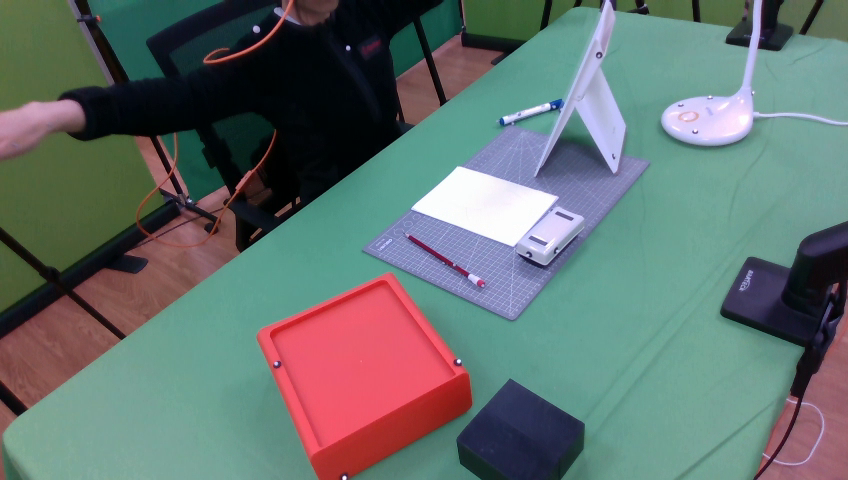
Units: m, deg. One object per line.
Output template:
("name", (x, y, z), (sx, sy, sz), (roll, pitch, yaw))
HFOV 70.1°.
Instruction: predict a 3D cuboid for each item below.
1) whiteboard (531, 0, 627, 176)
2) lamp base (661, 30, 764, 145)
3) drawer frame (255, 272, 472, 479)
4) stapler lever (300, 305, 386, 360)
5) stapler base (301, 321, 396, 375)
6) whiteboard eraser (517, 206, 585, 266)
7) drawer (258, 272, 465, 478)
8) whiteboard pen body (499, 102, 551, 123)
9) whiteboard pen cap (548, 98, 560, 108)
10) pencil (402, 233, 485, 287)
("whiteboard", (0.322, -0.259, 1.050), (0.143, 0.306, 0.217), (22, 46, 6))
("lamp base", (0.535, -0.287, 1.096), (0.179, 0.181, 0.159), (-10, 40, -4))
("drawer frame", (-0.079, 0.161, 0.760), (0.202, 0.083, 0.211), (-24, 43, -18))
("stapler lever", (-0.107, 0.121, 0.799), (0.118, 0.040, 0.026), (-19, 37, -13))
("stapler base", (-0.103, 0.138, 0.814), (0.131, 0.024, 0.041), (-20, 38, -12))
("whiteboard eraser", (0.196, -0.005, 0.931), (0.055, 0.042, 0.113), (25, 51, 35))
("drawer", (-0.082, 0.159, 0.764), (0.195, 0.073, 0.210), (-23, 43, -17))
("whiteboard pen body", (0.221, -0.268, 1.257), (0.141, 0.017, 0.017), (-19, 41, -13))
("whiteboard pen cap", (0.275, -0.287, 1.268), (0.033, 0.018, 0.018), (-17, 41, -14))
("pencil", (0.026, 0.027, 0.949), (0.012, 0.012, 0.192), (-34, 44, -26))
